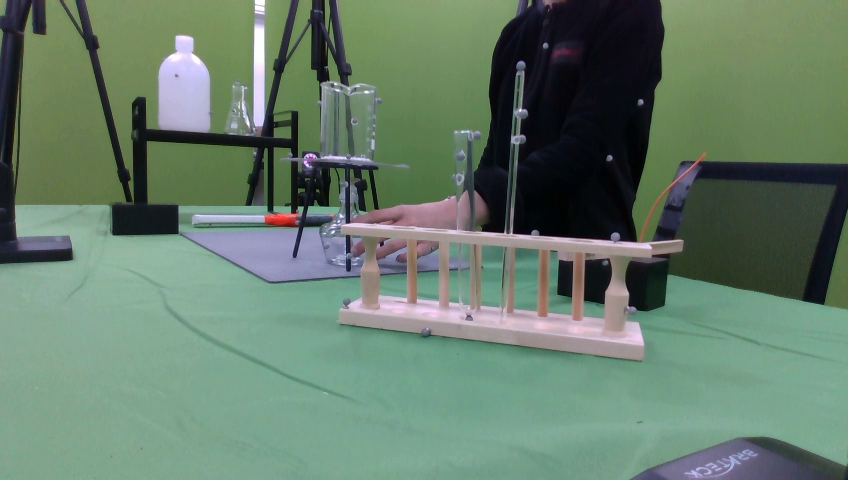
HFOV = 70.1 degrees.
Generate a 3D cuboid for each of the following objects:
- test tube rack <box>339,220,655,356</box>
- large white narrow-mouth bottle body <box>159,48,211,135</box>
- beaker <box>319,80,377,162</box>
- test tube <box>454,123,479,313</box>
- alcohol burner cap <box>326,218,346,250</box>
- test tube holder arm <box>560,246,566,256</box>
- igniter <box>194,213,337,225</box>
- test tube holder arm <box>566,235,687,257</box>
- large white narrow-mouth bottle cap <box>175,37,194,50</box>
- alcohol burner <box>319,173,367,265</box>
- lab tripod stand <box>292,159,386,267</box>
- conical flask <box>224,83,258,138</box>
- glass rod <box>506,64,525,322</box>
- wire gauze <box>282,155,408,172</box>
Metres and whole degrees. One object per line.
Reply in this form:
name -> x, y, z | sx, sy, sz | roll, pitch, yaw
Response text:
test tube rack -> 0.056, 0.032, 0.495 | 0.242, 0.085, 0.067 | 4, 7, 15
large white narrow-mouth bottle body -> -0.503, -0.322, 1.275 | 0.102, 0.194, 0.102 | 2, 7, 0
beaker -> -0.098, -0.150, 0.777 | 0.074, 0.100, 0.084 | 1, 7, -7
test tube -> 0.034, -0.016, 0.477 | 0.017, 0.150, 0.017 | -2, 9, 1
alcohol burner cap -> -0.133, -0.010, 0.927 | 0.034, 0.048, 0.034 | 6, 7, 0
test tube holder arm -> 0.173, 0.007, 0.612 | 0.088, 0.015, 0.010 | -3, 8, -30
igniter -> -0.306, -0.042, 1.196 | 0.278, 0.025, 0.057 | -2, -2, -31
test tube holder arm -> 0.215, 0.006, 0.630 | 0.179, 0.015, 0.013 | -3, 9, -31
large white narrow-mouth bottle cap -> -0.501, -0.409, 1.264 | 0.038, 0.024, 0.037 | 2, 7, 0
alcohol burner -> -0.099, -0.028, 0.790 | 0.078, 0.119, 0.078 | 0, 6, 0
lab tripod stand -> -0.105, -0.039, 0.798 | 0.148, 0.131, 0.148 | 2, 5, 0
conical flask -> -0.422, -0.299, 1.395 | 0.075, 0.122, 0.075 | 2, 7, 0
glass rod -> 0.069, -0.030, 0.458 | 0.008, 0.199, 0.008 | 0, 15, 0
wire gauze -> -0.104, -0.103, 0.785 | 0.126, 0.011, 0.121 | 1, 8, -39
